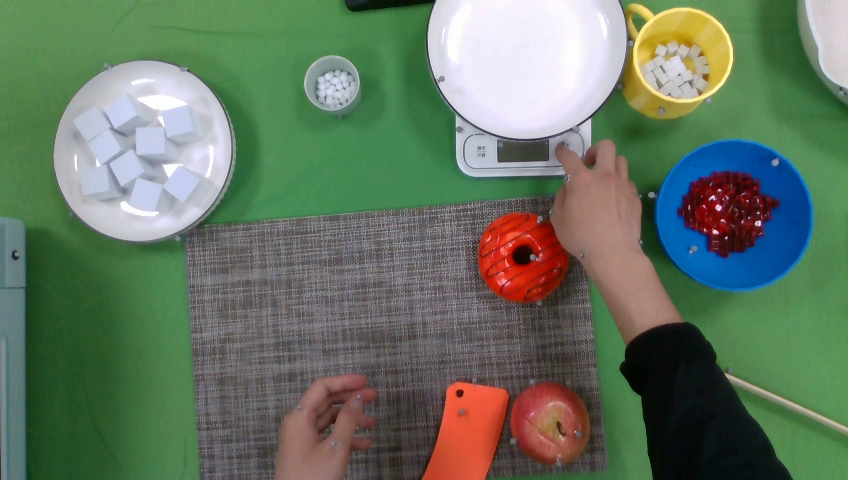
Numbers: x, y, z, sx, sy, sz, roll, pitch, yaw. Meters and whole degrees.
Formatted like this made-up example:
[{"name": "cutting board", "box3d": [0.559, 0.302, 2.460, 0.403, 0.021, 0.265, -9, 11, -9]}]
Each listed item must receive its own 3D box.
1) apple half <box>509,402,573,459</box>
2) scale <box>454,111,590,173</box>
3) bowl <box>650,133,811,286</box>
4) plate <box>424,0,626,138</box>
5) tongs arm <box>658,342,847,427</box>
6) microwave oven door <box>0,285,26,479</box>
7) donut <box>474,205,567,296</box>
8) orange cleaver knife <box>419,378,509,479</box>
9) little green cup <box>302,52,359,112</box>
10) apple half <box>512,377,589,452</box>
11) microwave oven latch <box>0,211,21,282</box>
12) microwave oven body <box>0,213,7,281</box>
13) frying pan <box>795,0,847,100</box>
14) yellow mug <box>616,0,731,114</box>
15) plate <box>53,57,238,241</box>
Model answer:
[{"name": "apple half", "box3d": [0.113, 0.202, 0.625, 0.081, 0.081, 0.033, 38, 86, 5]}, {"name": "scale", "box3d": [0.107, -0.177, 0.670, 0.148, 0.031, 0.200, -1, 88, 3]}, {"name": "bowl", "box3d": [0.302, -0.028, 0.627, 0.151, 0.077, 0.151, 0, 88, 4]}, {"name": "plate", "box3d": [0.104, -0.209, 0.638, 0.209, 0.038, 0.209, 0, 87, 3]}, {"name": "tongs arm", "box3d": [0.428, 0.196, 0.635, 0.387, 0.028, 0.028, 25, 81, 4]}, {"name": "microwave oven door", "box3d": [-0.471, 0.220, 0.563, 0.039, 0.244, 0.355, -3, 87, 4]}, {"name": "donut", "box3d": [0.102, 0.012, 0.650, 0.099, 0.048, 0.099, 0, 88, 5]}, {"name": "orange cleaver knife", "box3d": [0.027, 0.247, 0.656, 0.077, 0.012, 0.211, 24, 87, -1]}, {"name": "little green cup", "box3d": [-0.101, -0.174, 0.679, 0.061, 0.039, 0.061, 0, 87, 4]}, {"name": "apple half", "box3d": [0.137, 0.171, 0.627, 0.080, 0.075, 0.053, 37, 86, 9]}, {"name": "microwave oven latch", "box3d": [-0.470, 0.007, 0.675, 0.030, 0.029, 0.079, 0, 88, 3]}, {"name": "microwave oven body", "box3d": [-0.617, 0.185, 0.579, 0.326, 0.260, 0.441, -2, 88, 3]}, {"name": "frying pan", "box3d": [0.579, -0.166, 0.603, 0.307, 0.103, 0.485, -32, 78, 3]}, {"name": "yellow mug", "box3d": [0.252, -0.203, 0.644, 0.100, 0.064, 0.130, -38, 85, 2]}, {"name": "plate", "box3d": [-0.310, -0.101, 0.689, 0.207, 0.039, 0.207, 0, 87, 4]}]
